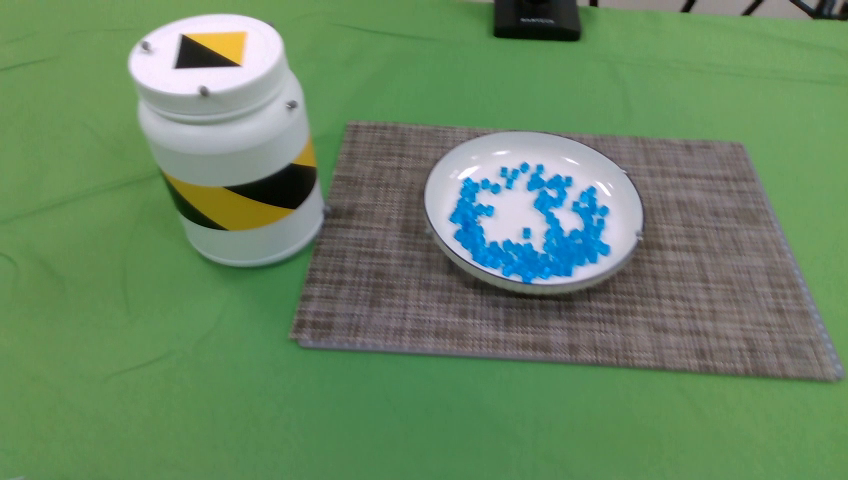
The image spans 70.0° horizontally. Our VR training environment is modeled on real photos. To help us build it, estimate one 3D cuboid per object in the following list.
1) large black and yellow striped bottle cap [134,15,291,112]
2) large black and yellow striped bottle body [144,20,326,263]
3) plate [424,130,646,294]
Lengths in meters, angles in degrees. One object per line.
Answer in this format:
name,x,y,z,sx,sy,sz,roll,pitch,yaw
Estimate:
large black and yellow striped bottle cap,-0.162,-0.140,0.468,0.115,0.019,0.114,2,48,-2
large black and yellow striped bottle body,-0.161,-0.083,0.531,0.131,0.185,0.129,0,48,0
plate,0.104,-0.028,0.581,0.208,0.039,0.205,1,48,-1
